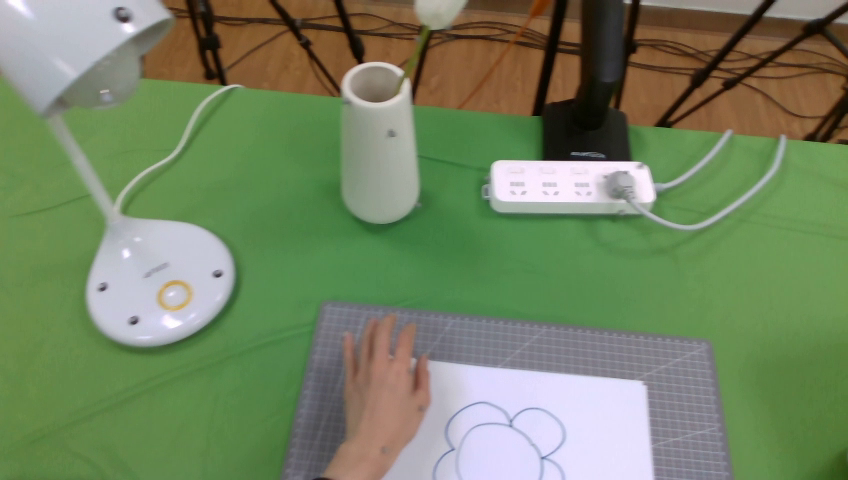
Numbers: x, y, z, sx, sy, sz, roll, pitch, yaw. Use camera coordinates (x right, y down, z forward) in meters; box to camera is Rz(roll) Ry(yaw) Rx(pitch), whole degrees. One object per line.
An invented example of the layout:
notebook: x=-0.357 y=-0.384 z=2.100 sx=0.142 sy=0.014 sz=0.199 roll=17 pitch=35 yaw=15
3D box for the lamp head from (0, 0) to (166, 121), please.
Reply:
lamp head: x=-0.254 y=-0.156 z=0.394 sx=0.124 sy=0.112 sz=0.112 roll=47 pitch=59 yaw=-18

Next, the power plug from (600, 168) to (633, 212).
power plug: x=0.238 y=-0.057 z=0.760 sx=0.035 sy=0.053 sz=0.072 roll=10 pitch=63 yaw=4

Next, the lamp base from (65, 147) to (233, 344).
lamp base: x=-0.311 y=-0.003 z=0.638 sx=0.178 sy=0.182 sz=0.160 roll=34 pitch=61 yaw=22

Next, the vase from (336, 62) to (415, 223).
vase: x=-0.059 y=-0.107 z=0.707 sx=0.098 sy=0.201 sz=0.097 roll=1 pitch=56 yaw=0

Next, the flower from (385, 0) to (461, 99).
flower: x=-0.038 y=-0.144 z=0.634 sx=0.044 sy=0.362 sz=0.038 roll=-32 pitch=80 yaw=-31

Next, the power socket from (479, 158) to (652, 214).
power socket: x=0.187 y=-0.070 z=0.793 sx=0.227 sy=0.033 sz=0.071 roll=1 pitch=57 yaw=-2
